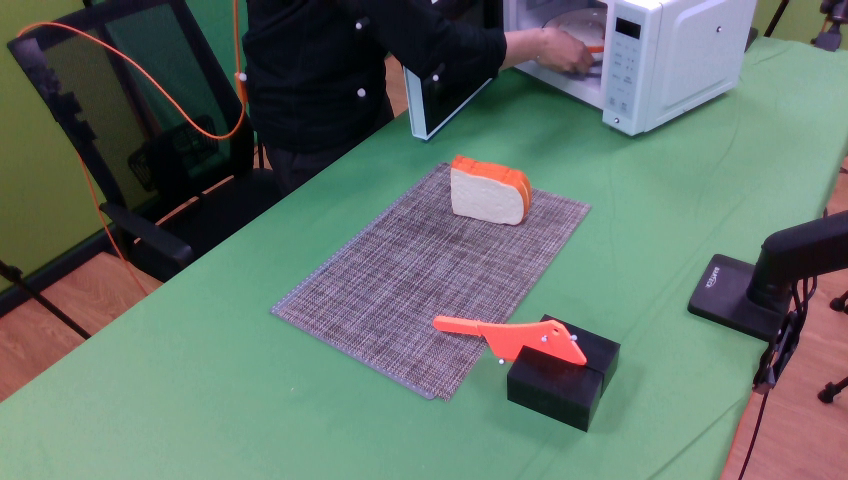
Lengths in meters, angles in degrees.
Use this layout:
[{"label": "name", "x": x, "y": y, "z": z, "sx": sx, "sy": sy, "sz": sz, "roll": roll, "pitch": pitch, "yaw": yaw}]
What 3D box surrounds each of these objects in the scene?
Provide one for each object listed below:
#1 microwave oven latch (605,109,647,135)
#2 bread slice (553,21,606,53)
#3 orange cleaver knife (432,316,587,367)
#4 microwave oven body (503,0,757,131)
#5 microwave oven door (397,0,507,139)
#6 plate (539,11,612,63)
[{"label": "microwave oven latch", "x": 0.379, "y": -0.225, "z": 1.139, "sx": 0.030, "sy": 0.029, "sz": 0.078, "roll": -26, "pitch": 43, "yaw": -19}, {"label": "bread slice", "x": 0.328, "y": -0.432, "z": 1.289, "sx": 0.107, "sy": 0.018, "sz": 0.134, "roll": 2, "pitch": 43, "yaw": 8}, {"label": "orange cleaver knife", "x": 0.101, "y": 0.127, "z": 0.761, "sx": 0.210, "sy": 0.077, "sz": 0.012, "roll": -1, "pitch": 34, "yaw": 40}, {"label": "microwave oven body", "x": 0.396, "y": -0.448, "z": 1.248, "sx": 0.327, "sy": 0.261, "sz": 0.437, "roll": -27, "pitch": 44, "yaw": -21}, {"label": "microwave oven door", "x": 0.071, "y": -0.399, "z": 1.228, "sx": 0.039, "sy": 0.245, "sz": 0.356, "roll": 18, "pitch": 47, "yaw": 27}, {"label": "plate", "x": 0.349, "y": -0.425, "z": 1.281, "sx": 0.207, "sy": 0.039, "sz": 0.206, "roll": -5, "pitch": 42, "yaw": 5}]
